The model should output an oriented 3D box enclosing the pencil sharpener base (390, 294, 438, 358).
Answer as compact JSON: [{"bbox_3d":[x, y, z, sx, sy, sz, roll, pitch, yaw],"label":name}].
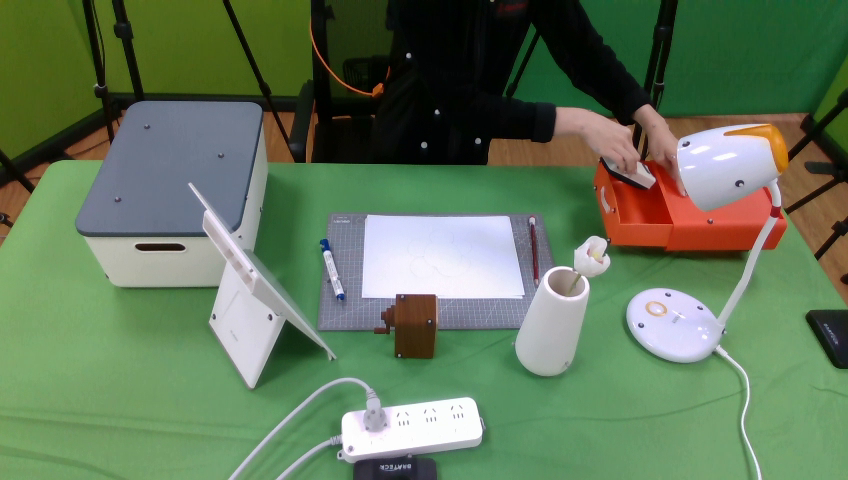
[{"bbox_3d":[-0.018,0.143,1.000,0.077,0.107,0.061,1,46,-2],"label":"pencil sharpener base"}]

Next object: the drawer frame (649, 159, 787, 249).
[{"bbox_3d":[0.566,-0.075,1.209,0.213,0.083,0.200,0,45,2],"label":"drawer frame"}]

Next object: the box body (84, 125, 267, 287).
[{"bbox_3d":[-0.446,-0.088,1.150,0.254,0.161,0.361,-1,46,-5],"label":"box body"}]

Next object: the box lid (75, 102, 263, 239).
[{"bbox_3d":[-0.443,-0.138,1.094,0.263,0.015,0.369,-1,47,-5],"label":"box lid"}]

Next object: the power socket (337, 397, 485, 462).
[{"bbox_3d":[-0.018,0.285,0.915,0.227,0.033,0.071,-5,46,-8],"label":"power socket"}]

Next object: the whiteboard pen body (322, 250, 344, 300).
[{"bbox_3d":[-0.173,0.056,1.127,0.017,0.017,0.140,-12,49,-16],"label":"whiteboard pen body"}]

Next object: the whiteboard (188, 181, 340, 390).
[{"bbox_3d":[-0.292,0.096,0.929,0.144,0.307,0.216,-38,57,-10],"label":"whiteboard"}]

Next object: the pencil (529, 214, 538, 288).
[{"bbox_3d":[0.219,0.019,1.202,0.012,0.012,0.193,5,48,1],"label":"pencil"}]

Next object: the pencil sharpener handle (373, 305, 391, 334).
[{"bbox_3d":[-0.069,0.133,0.989,0.030,0.068,0.036,1,47,-2],"label":"pencil sharpener handle"}]

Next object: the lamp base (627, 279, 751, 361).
[{"bbox_3d":[0.459,0.100,1.027,0.178,0.181,0.160,27,51,17],"label":"lamp base"}]

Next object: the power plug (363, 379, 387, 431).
[{"bbox_3d":[-0.072,0.252,0.910,0.035,0.053,0.072,3,44,-1],"label":"power plug"}]

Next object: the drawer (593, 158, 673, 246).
[{"bbox_3d":[0.460,-0.077,1.207,0.212,0.073,0.193,3,46,-3],"label":"drawer"}]

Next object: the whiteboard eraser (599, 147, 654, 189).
[{"bbox_3d":[0.394,-0.139,1.187,0.113,0.042,0.055,18,45,-26],"label":"whiteboard eraser"}]

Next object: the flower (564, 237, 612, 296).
[{"bbox_3d":[0.206,0.088,0.893,0.038,0.363,0.044,-16,67,-9],"label":"flower"}]

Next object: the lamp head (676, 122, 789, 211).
[{"bbox_3d":[0.423,-0.104,0.819,0.122,0.113,0.112,-13,33,40],"label":"lamp head"}]

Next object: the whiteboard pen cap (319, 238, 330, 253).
[{"bbox_3d":[-0.191,0.013,1.163,0.018,0.018,0.033,-13,49,-16],"label":"whiteboard pen cap"}]

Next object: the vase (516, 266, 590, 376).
[{"bbox_3d":[0.208,0.132,0.964,0.098,0.201,0.097,3,46,-3],"label":"vase"}]
